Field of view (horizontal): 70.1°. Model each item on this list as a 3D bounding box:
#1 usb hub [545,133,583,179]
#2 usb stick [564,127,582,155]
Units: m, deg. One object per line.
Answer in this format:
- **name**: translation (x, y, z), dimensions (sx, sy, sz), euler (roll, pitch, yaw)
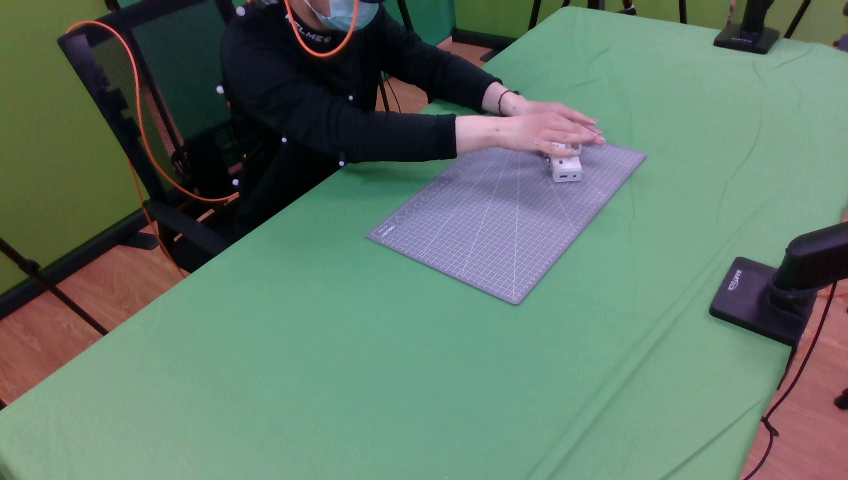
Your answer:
- **usb hub**: translation (0.254, -0.154, 1.102), dimensions (0.049, 0.025, 0.124), euler (1, 40, 1)
- **usb stick**: translation (0.265, -0.170, 1.078), dimensions (0.027, 0.059, 0.021), euler (-3, 40, -1)
